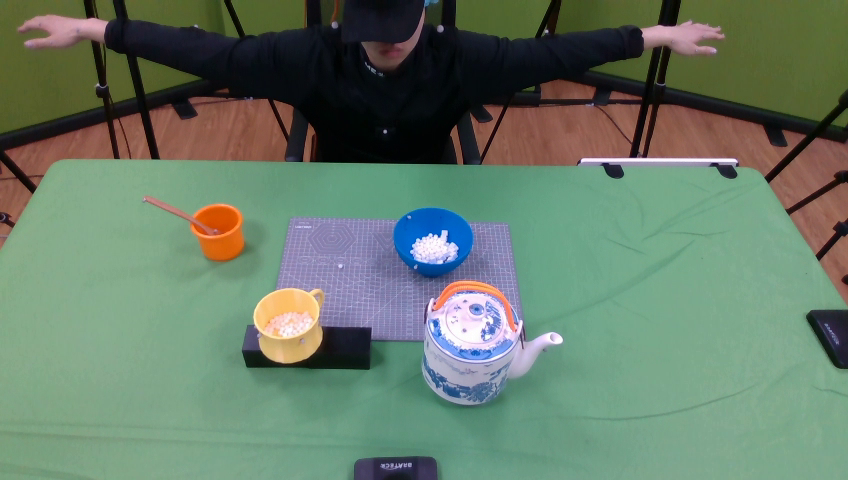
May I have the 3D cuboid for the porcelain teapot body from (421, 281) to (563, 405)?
[{"bbox_3d":[0.101,0.148,0.923,0.205,0.226,0.144,12,46,7],"label":"porcelain teapot body"}]

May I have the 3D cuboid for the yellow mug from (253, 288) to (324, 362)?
[{"bbox_3d":[-0.205,0.124,0.963,0.099,0.064,0.130,27,49,21],"label":"yellow mug"}]

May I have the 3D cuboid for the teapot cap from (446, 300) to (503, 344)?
[{"bbox_3d":[0.076,0.115,0.898,0.085,0.044,0.084,4,45,-4],"label":"teapot cap"}]

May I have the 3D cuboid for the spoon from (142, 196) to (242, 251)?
[{"bbox_3d":[-0.421,-0.032,1.108,0.021,0.195,0.041,-32,40,28],"label":"spoon"}]

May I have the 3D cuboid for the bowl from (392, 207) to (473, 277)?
[{"bbox_3d":[0.014,0.016,1.140,0.151,0.077,0.150,2,46,-2],"label":"bowl"}]
